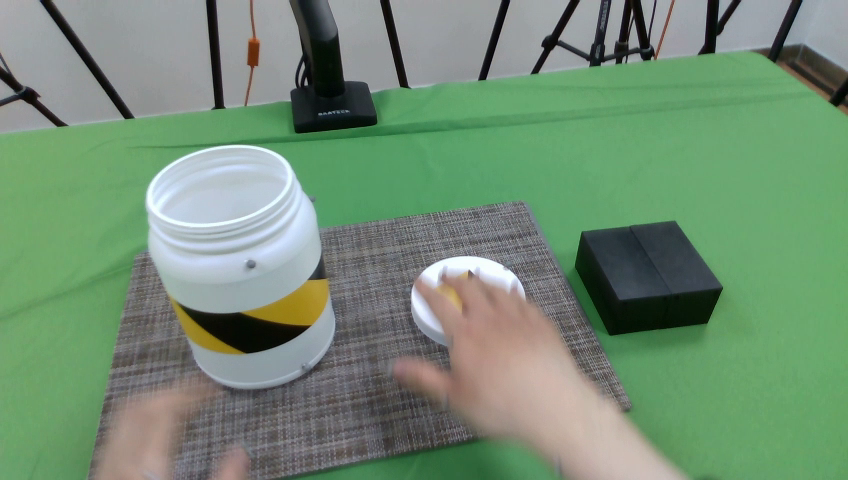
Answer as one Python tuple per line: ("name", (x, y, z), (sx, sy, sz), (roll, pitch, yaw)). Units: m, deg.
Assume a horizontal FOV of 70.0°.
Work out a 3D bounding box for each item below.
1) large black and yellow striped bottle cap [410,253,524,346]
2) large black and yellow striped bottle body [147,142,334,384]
("large black and yellow striped bottle cap", (0.043, 0.057, 0.607), (0.115, 0.019, 0.114), (-1, 41, 1))
("large black and yellow striped bottle body", (-0.153, 0.021, 0.523), (0.131, 0.185, 0.129), (0, 42, 1))
